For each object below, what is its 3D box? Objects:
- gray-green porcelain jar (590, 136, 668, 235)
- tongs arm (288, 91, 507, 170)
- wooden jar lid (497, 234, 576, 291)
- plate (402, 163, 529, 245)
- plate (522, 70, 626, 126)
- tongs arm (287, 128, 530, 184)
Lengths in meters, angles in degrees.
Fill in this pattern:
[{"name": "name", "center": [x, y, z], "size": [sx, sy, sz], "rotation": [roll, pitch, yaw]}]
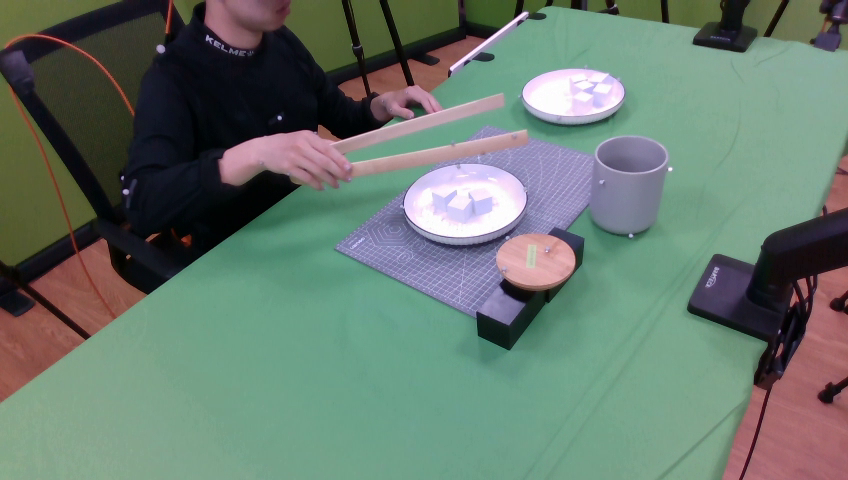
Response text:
[{"name": "gray-green porcelain jar", "center": [0.314, -0.080, 0.937], "size": [0.106, 0.127, 0.105], "rotation": [-4, 41, 4]}, {"name": "tongs arm", "center": [-0.040, -0.183, 1.017], "size": [0.388, 0.028, 0.028], "rotation": [-19, 45, -8]}, {"name": "wooden jar lid", "center": [0.154, 0.032, 0.834], "size": [0.108, 0.021, 0.108], "rotation": [-5, 40, 5]}, {"name": "plate", "center": [0.070, -0.056, 1.008], "size": [0.209, 0.038, 0.208], "rotation": [-4, 40, 4]}, {"name": "plate", "center": [0.308, -0.290, 1.251], "size": [0.207, 0.039, 0.206], "rotation": [-4, 40, 4]}, {"name": "tongs arm", "center": [-0.028, -0.137, 0.958], "size": [0.385, 0.026, 0.050], "rotation": [-12, 41, 1]}]
